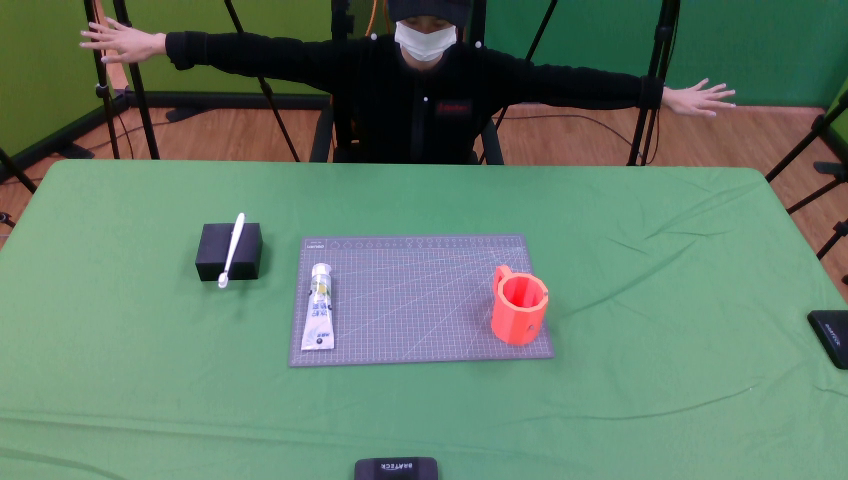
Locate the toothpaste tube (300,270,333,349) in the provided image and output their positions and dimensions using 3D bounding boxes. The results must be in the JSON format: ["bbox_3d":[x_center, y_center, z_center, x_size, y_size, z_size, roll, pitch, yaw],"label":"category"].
[{"bbox_3d":[-0.187,0.118,1.062,0.055,0.035,0.164,-6,50,-1],"label":"toothpaste tube"}]

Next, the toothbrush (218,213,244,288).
[{"bbox_3d":[-0.347,0.013,1.093,0.014,0.017,0.180,-2,46,1],"label":"toothbrush"}]

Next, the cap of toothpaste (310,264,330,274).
[{"bbox_3d":[-0.191,0.057,1.111,0.037,0.037,0.011,-2,50,-6],"label":"cap of toothpaste"}]

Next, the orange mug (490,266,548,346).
[{"bbox_3d":[0.155,0.107,1.051,0.083,0.101,0.125,-15,53,-18],"label":"orange mug"}]
